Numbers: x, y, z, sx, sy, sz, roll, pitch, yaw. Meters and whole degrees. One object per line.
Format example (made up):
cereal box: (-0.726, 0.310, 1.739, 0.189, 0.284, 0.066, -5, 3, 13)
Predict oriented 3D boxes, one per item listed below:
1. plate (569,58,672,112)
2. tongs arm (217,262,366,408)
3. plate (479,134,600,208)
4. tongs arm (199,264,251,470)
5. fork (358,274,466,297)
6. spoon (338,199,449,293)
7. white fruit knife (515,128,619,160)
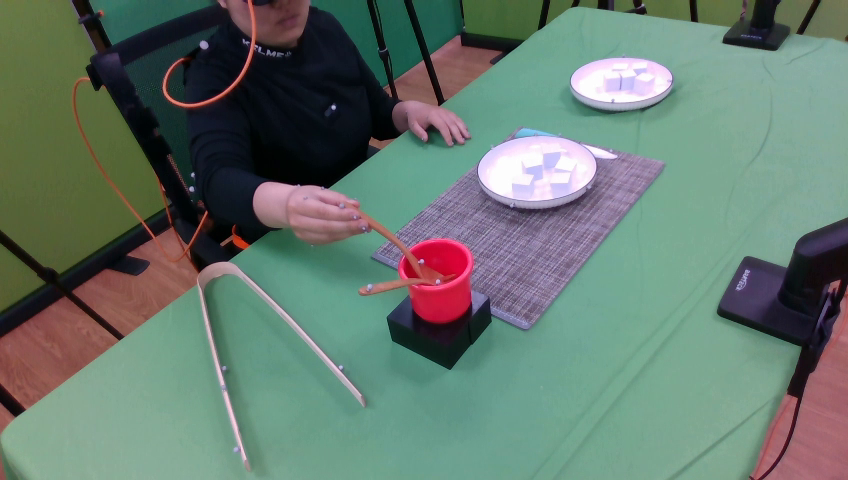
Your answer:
plate: (0.411, -0.323, 1.274, 0.209, 0.038, 0.208, -5, 41, 5)
tongs arm: (-0.200, 0.123, 0.871, 0.028, 0.028, 0.384, -35, 46, -25)
plate: (0.202, -0.117, 1.065, 0.207, 0.039, 0.206, -5, 40, 5)
tongs arm: (-0.270, 0.154, 0.841, 0.051, 0.026, 0.381, -23, 40, -17)
fork: (-0.010, 0.055, 0.739, 0.028, 0.018, 0.209, 44, 21, 27)
spoon: (-0.034, 0.008, 0.772, 0.021, 0.195, 0.041, -35, 27, 24)
white fruit knife: (0.269, -0.182, 1.148, 0.206, 0.016, 0.027, 21, 77, 29)
